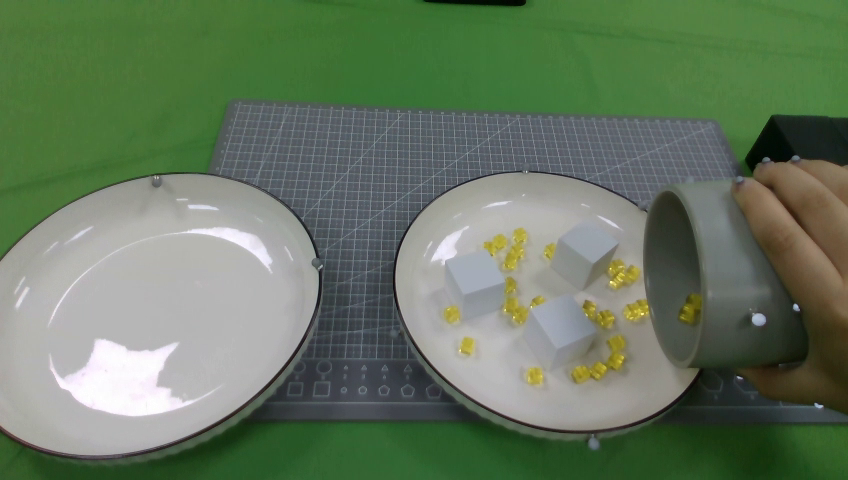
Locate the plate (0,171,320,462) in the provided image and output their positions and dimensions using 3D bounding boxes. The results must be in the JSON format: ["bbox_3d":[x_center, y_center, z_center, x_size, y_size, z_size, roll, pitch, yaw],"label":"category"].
[{"bbox_3d":[-0.169,0.041,0.384,0.209,0.038,0.207,2,51,-2],"label":"plate"}]

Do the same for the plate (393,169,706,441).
[{"bbox_3d":[0.083,0.038,0.408,0.208,0.039,0.205,3,51,-3],"label":"plate"}]

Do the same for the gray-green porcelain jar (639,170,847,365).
[{"bbox_3d":[0.199,0.015,0.341,0.126,0.107,0.105,-3,50,4],"label":"gray-green porcelain jar"}]
